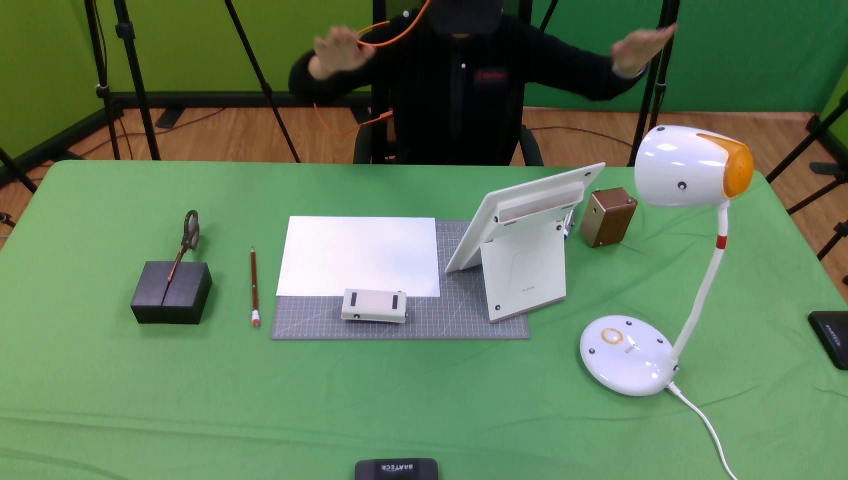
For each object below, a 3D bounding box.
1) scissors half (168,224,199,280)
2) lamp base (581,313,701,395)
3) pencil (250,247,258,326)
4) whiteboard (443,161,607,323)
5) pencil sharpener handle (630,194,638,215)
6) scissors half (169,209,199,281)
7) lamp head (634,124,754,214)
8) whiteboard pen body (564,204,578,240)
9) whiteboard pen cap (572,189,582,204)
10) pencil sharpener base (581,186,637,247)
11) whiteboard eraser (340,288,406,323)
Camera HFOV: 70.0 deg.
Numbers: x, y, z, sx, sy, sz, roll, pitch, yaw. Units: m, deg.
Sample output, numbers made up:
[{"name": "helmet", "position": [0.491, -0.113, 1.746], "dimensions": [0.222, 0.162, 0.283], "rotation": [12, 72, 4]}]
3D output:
[{"name": "scissors half", "position": [-0.441, 0.023, 1.111], "dimensions": [0.013, 0.040, 0.174], "rotation": [8, 29, -7]}, {"name": "lamp base", "position": [0.361, 0.144, 0.972], "dimensions": [0.178, 0.181, 0.160], "rotation": [34, 53, 23]}, {"name": "pencil", "position": [-0.312, 0.079, 1.107], "dimensions": [0.012, 0.012, 0.192], "rotation": [-7, 46, -11]}, {"name": "whiteboard", "position": [0.185, 0.025, 1.029], "dimensions": [0.217, 0.306, 0.143], "rotation": [-15, 68, -18]}, {"name": "pencil sharpener handle", "position": [0.417, -0.068, 1.215], "dimensions": [0.031, 0.068, 0.036], "rotation": [-11, 60, -15]}, {"name": "scissors half", "position": [-0.437, 0.007, 1.099], "dimensions": [0.013, 0.040, 0.174], "rotation": [4, 47, -4]}, {"name": "lamp head", "position": [0.351, -0.089, 0.775], "dimensions": [0.112, 0.113, 0.122], "rotation": [-30, 30, -28]}, {"name": "whiteboard pen body", "position": [0.307, -0.052, 1.270], "dimensions": [0.017, 0.017, 0.140], "rotation": [17, 49, 12]}, {"name": "whiteboard pen cap", "position": [0.329, -0.093, 1.307], "dimensions": [0.018, 0.018, 0.033], "rotation": [17, 51, 12]}, {"name": "pencil sharpener base", "position": [0.369, -0.047, 1.209], "dimensions": [0.077, 0.107, 0.061], "rotation": [-11, 47, -15]}, {"name": "whiteboard eraser", "position": [-0.088, 0.117, 1.060], "dimensions": [0.113, 0.042, 0.055], "rotation": [3, 45, -1]}]
